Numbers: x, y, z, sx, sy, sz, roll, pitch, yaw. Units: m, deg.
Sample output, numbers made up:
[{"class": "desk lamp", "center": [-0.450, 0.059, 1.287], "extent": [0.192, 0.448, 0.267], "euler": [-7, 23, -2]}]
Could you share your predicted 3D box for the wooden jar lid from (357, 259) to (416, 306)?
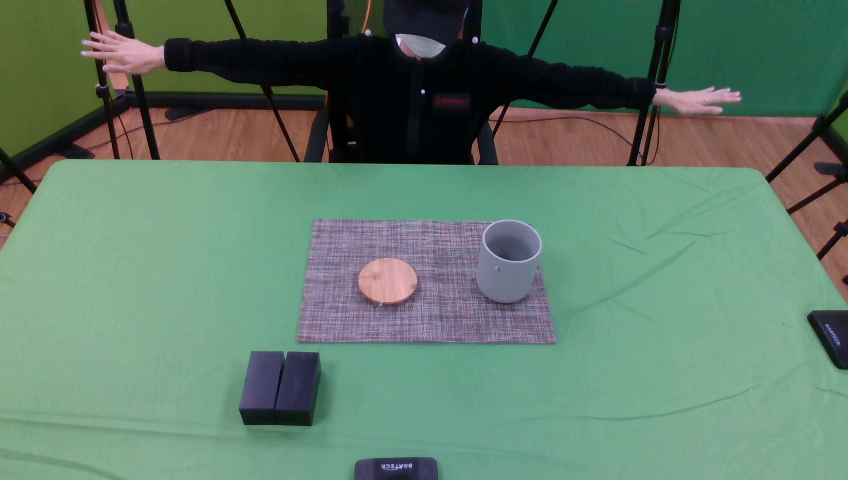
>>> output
[{"class": "wooden jar lid", "center": [-0.069, 0.079, 1.113], "extent": [0.108, 0.021, 0.107], "euler": [3, 46, -3]}]

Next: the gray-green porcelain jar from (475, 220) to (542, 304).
[{"class": "gray-green porcelain jar", "center": [0.148, 0.044, 1.090], "extent": [0.106, 0.127, 0.105], "euler": [2, 46, -2]}]
